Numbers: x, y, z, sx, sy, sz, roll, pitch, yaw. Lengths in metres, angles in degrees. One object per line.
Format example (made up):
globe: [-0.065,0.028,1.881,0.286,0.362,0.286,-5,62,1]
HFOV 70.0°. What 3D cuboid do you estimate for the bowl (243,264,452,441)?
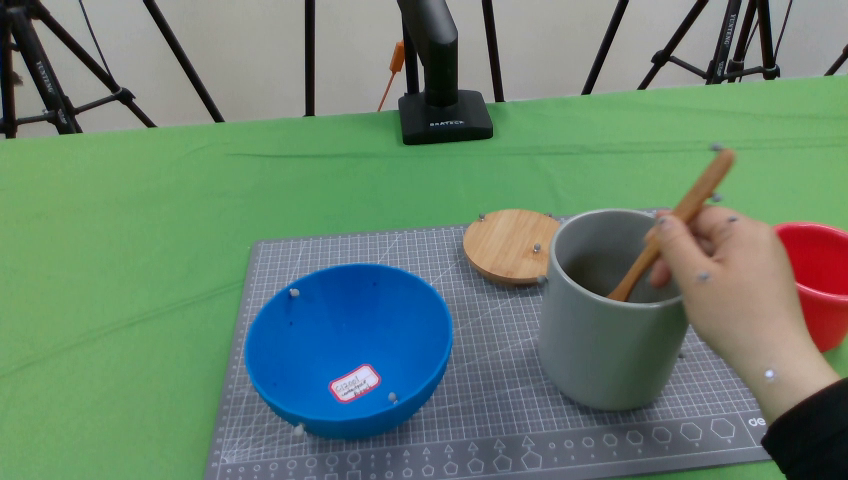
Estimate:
bowl: [-0.053,0.097,0.461,0.151,0.077,0.150,-1,40,1]

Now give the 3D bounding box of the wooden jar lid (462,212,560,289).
wooden jar lid: [0.092,0.011,0.603,0.108,0.021,0.107,-2,39,2]

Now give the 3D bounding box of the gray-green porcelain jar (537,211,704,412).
gray-green porcelain jar: [0.141,0.059,0.459,0.106,0.127,0.105,-2,40,2]

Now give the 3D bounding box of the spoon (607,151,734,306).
spoon: [0.150,0.023,0.418,0.022,0.194,0.041,2,37,-35]
